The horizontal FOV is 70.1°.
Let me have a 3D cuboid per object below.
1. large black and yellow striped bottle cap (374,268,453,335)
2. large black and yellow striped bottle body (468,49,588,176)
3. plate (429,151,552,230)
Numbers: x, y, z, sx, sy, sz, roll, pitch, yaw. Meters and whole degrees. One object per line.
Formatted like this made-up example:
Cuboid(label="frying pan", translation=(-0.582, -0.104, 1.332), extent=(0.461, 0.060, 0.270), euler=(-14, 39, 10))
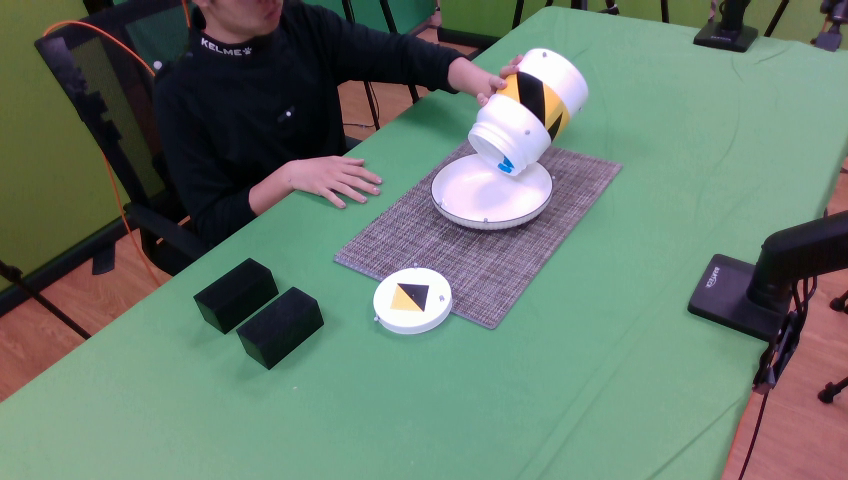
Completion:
Cuboid(label="large black and yellow striped bottle cap", translation=(-0.015, 0.087, 0.871), extent=(0.115, 0.019, 0.114), euler=(-6, 43, 6))
Cuboid(label="large black and yellow striped bottle body", translation=(0.172, -0.212, 1.023), extent=(0.129, 0.132, 0.184), euler=(35, 84, 39))
Cuboid(label="plate", translation=(0.113, -0.082, 1.032), extent=(0.207, 0.039, 0.206), euler=(-4, 41, 4))
